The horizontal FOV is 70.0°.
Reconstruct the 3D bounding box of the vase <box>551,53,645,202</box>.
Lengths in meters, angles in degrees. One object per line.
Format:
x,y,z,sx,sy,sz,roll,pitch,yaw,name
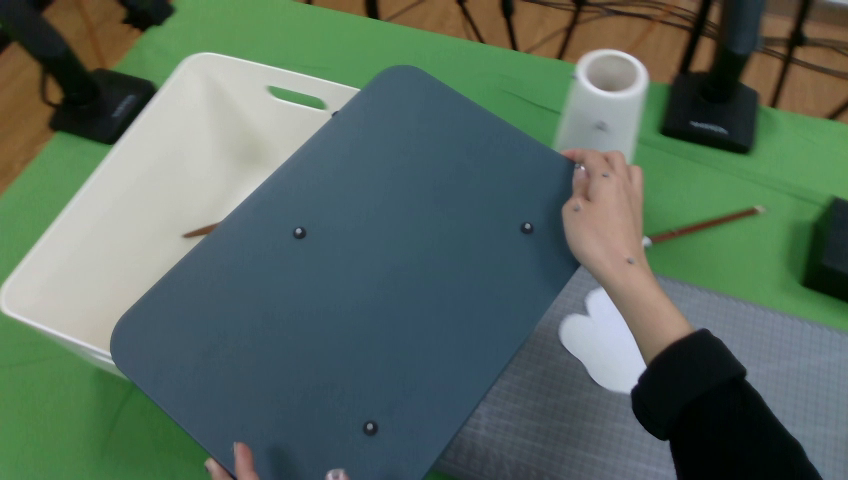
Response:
0.196,-0.117,0.701,0.098,0.202,0.097,-2,57,3,vase

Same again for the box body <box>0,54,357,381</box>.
-0.213,-0.006,0.673,0.253,0.162,0.362,16,60,13,box body

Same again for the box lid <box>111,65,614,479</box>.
-0.039,0.024,0.497,0.262,0.015,0.370,35,70,15,box lid

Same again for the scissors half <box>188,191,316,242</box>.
-0.219,-0.023,0.769,0.175,0.040,0.013,-15,14,5,scissors half

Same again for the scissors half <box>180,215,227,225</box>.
-0.223,-0.037,0.765,0.175,0.040,0.012,-9,21,2,scissors half

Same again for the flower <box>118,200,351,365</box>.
-0.210,0.032,0.751,0.038,0.044,0.361,9,34,36,flower

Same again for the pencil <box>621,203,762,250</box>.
0.332,-0.019,0.745,0.194,0.012,0.012,-16,58,-8,pencil
